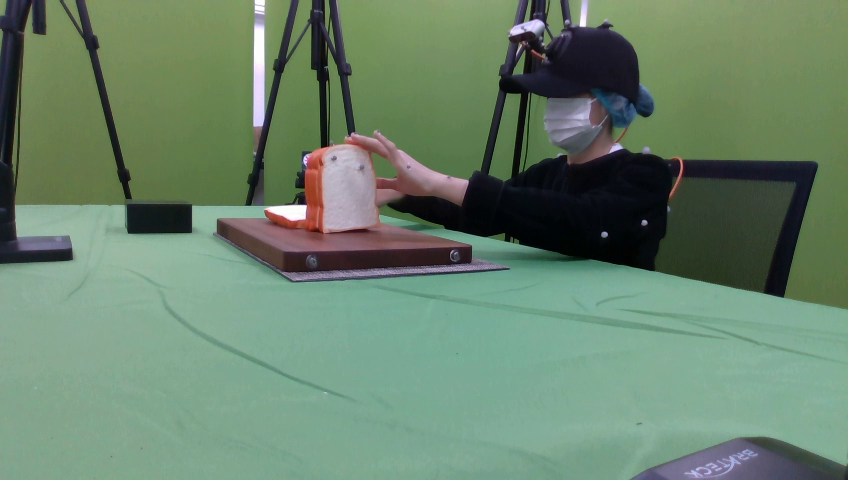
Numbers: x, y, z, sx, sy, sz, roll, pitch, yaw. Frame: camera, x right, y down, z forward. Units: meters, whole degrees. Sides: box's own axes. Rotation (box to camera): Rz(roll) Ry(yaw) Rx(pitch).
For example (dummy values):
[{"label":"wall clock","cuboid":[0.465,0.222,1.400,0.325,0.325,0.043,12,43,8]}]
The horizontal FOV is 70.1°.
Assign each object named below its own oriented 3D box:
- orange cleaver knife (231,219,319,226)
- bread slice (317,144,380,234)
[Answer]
[{"label":"orange cleaver knife","cuboid":[-0.276,-0.034,1.200,0.212,0.012,0.077,2,4,-26]},{"label":"bread slice","cuboid":[-0.119,-0.078,0.924,0.107,0.134,0.018,-13,10,-42]}]
